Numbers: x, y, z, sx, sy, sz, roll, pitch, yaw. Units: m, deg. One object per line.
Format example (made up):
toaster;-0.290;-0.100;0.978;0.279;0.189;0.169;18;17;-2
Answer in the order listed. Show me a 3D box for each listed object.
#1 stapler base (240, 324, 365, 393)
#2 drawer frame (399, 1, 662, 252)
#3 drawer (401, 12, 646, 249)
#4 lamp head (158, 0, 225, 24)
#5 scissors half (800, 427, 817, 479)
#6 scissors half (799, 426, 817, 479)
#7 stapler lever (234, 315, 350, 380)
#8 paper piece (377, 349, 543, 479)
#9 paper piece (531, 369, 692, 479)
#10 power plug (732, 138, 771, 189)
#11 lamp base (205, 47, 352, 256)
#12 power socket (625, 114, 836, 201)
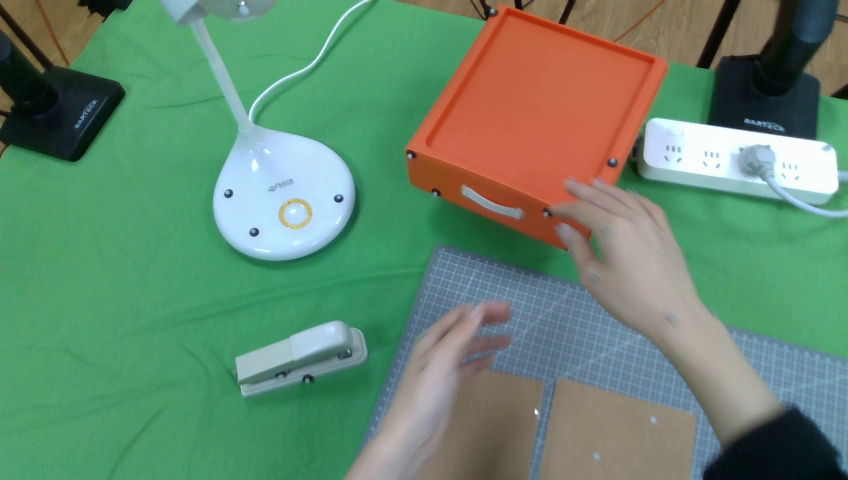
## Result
stapler base;-0.126;0.115;0.610;0.130;0.024;0.041;-16;60;-4
drawer frame;0.112;-0.125;0.640;0.201;0.083;0.212;24;68;14
drawer;0.111;-0.121;0.635;0.193;0.074;0.211;24;66;14
lamp head;-0.142;-0.209;0.359;0.112;0.112;0.123;-42;107;-17
scissors half;0.333;0.249;0.528;0.040;0.013;0.174;18;62;1
scissors half;0.353;0.251;0.528;0.040;0.013;0.173;1;63;-2
stapler lever;-0.129;0.104;0.587;0.118;0.040;0.026;-16;60;-3
paper piece;0.036;0.181;0.578;0.135;0.009;0.137;10;66;11
paper piece;0.174;0.202;0.561;0.135;0.004;0.135;15;65;10
power plug;0.349;-0.078;0.655;0.035;0.053;0.072;20;67;12
lamp base;-0.174;-0.097;0.628;0.160;0.182;0.177;-35;64;-14
power socket;0.347;-0.095;0.689;0.226;0.033;0.072;10;66;7
